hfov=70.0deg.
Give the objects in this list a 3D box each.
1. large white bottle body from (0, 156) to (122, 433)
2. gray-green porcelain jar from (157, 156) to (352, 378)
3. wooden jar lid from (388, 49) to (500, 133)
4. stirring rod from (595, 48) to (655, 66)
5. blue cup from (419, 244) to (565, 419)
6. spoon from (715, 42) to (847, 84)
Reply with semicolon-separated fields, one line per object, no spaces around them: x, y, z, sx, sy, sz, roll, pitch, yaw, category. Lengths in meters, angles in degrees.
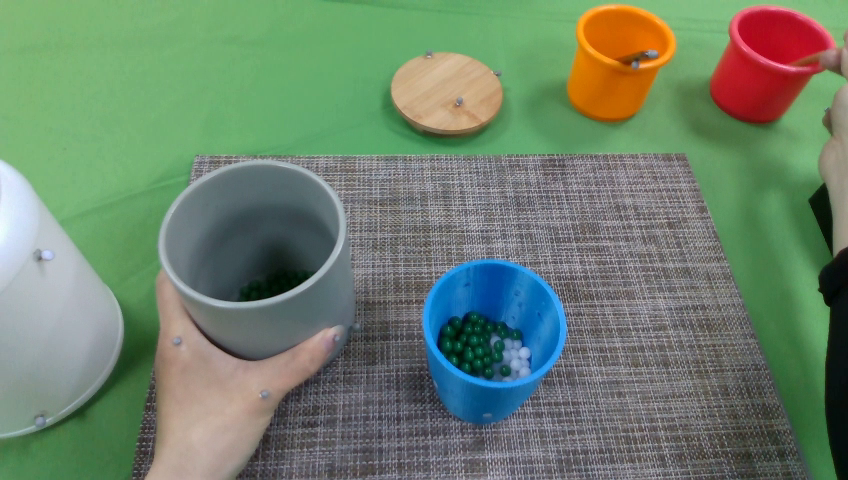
-0.277;0.025;0.356;0.131;0.186;0.129;2;56;-3;large white bottle body
-0.102;0.025;0.400;0.106;0.127;0.105;2;56;-2;gray-green porcelain jar
0.019;-0.144;0.589;0.108;0.021;0.107;2;55;-3;wooden jar lid
0.177;-0.162;0.543;0.014;0.006;0.175;4;13;4;stirring rod
0.038;0.072;0.394;0.093;0.101;0.092;1;56;-1;blue cup
0.351;-0.164;0.545;0.042;0.192;0.022;-25;103;-23;spoon
